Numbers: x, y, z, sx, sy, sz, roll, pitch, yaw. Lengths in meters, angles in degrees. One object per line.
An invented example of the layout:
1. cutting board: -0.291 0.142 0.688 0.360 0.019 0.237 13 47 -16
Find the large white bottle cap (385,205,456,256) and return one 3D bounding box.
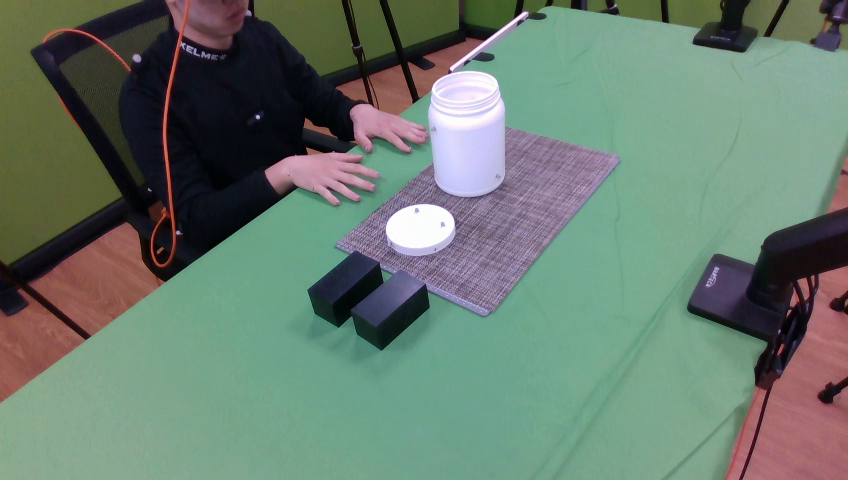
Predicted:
1. large white bottle cap: -0.006 -0.018 0.987 0.115 0.018 0.114 -4 40 4

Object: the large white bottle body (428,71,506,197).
1. large white bottle body: 0.075 -0.181 1.038 0.130 0.185 0.130 -4 41 4
